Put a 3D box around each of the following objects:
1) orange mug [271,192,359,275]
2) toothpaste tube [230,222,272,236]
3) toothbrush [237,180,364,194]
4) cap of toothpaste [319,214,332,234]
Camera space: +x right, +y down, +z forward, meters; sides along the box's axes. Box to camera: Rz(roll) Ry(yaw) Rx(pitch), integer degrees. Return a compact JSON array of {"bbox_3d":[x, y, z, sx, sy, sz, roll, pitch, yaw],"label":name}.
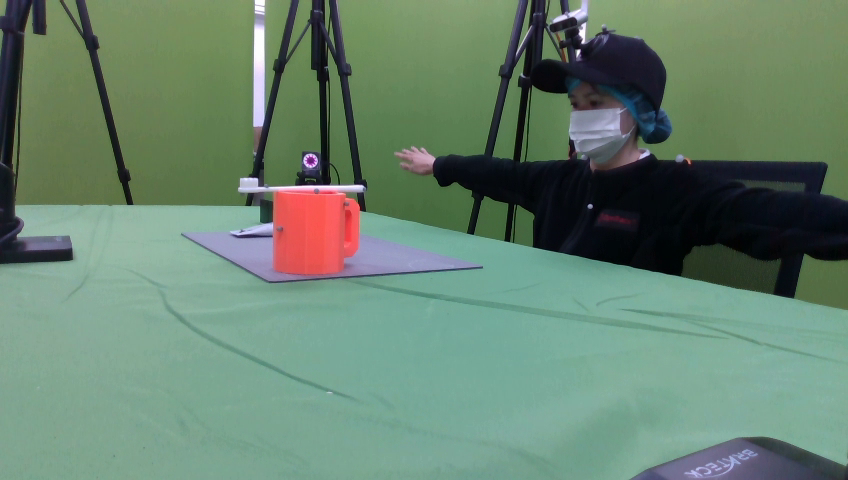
[{"bbox_3d":[-0.131,-0.013,0.754,0.083,0.101,0.127,8,13,38],"label":"orange mug"},{"bbox_3d":[-0.250,-0.021,1.056,0.166,0.034,0.055,-6,5,-32],"label":"toothpaste tube"},{"bbox_3d":[-0.144,-0.064,0.737,0.014,0.016,0.183,4,6,43],"label":"toothbrush"},{"bbox_3d":[-0.180,-0.029,1.097,0.011,0.037,0.037,-3,9,-40],"label":"cap of toothpaste"}]
